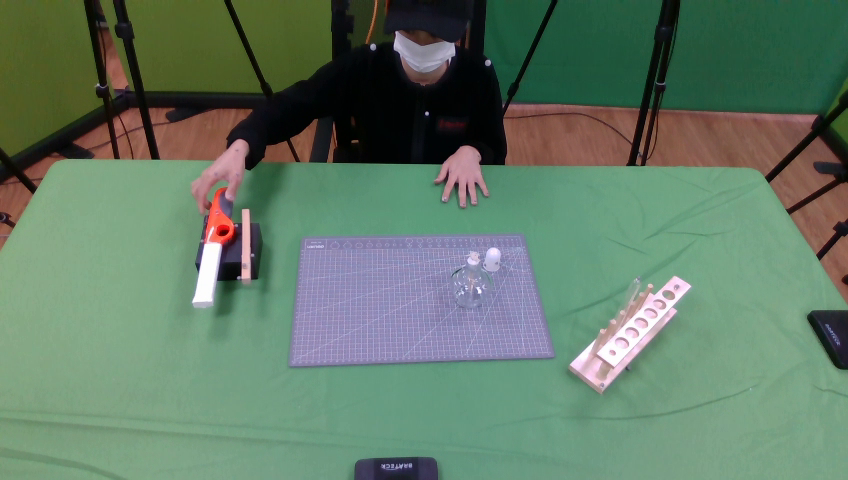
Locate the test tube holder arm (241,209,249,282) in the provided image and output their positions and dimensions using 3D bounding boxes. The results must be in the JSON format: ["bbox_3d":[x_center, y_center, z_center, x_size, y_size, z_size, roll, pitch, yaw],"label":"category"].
[{"bbox_3d":[-0.324,0.006,1.096,0.015,0.013,0.177,-2,48,-14],"label":"test tube holder arm"}]

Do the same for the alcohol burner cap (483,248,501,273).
[{"bbox_3d":[0.130,0.037,1.156,0.034,0.048,0.033,1,46,-1],"label":"alcohol burner cap"}]

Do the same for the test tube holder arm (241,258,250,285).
[{"bbox_3d":[-0.316,0.043,1.071,0.015,0.010,0.087,-2,49,-14],"label":"test tube holder arm"}]

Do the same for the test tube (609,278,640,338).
[{"bbox_3d":[0.331,0.115,1.007,0.017,0.151,0.017,2,45,-2],"label":"test tube"}]

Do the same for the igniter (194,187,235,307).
[{"bbox_3d":[-0.378,0.003,1.096,0.057,0.025,0.274,-1,49,-7],"label":"igniter"}]

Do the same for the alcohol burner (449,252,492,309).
[{"bbox_3d":[0.084,0.066,1.074,0.078,0.120,0.077,1,44,-1],"label":"alcohol burner"}]

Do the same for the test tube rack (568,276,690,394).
[{"bbox_3d":[0.353,0.149,1.039,0.242,0.085,0.066,-34,56,-31],"label":"test tube rack"}]
